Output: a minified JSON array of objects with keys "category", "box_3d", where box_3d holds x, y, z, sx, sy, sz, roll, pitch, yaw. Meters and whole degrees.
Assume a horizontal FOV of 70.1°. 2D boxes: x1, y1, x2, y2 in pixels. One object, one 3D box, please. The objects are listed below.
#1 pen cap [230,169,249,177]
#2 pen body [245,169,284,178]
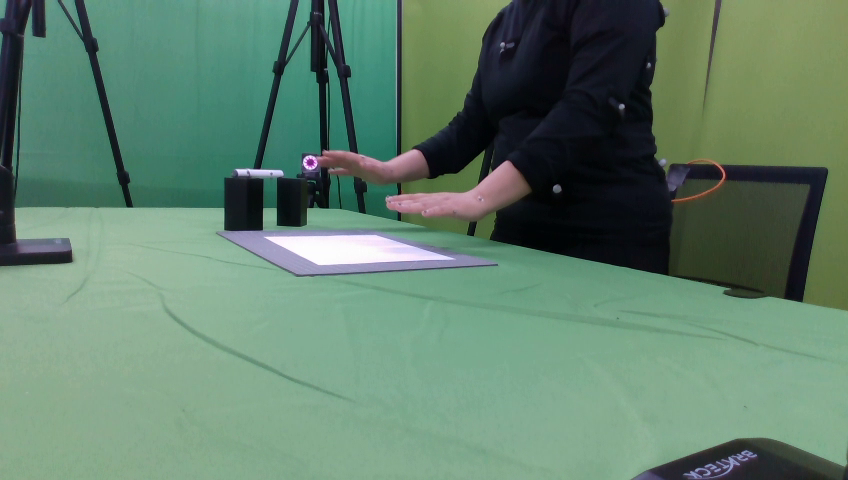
[{"category":"pen cap","box_3d":[-0.347,-0.125,1.138,0.017,0.017,0.038,6,8,21]},{"category":"pen body","box_3d":[-0.325,-0.130,1.195,0.017,0.017,0.144,6,7,22]}]
